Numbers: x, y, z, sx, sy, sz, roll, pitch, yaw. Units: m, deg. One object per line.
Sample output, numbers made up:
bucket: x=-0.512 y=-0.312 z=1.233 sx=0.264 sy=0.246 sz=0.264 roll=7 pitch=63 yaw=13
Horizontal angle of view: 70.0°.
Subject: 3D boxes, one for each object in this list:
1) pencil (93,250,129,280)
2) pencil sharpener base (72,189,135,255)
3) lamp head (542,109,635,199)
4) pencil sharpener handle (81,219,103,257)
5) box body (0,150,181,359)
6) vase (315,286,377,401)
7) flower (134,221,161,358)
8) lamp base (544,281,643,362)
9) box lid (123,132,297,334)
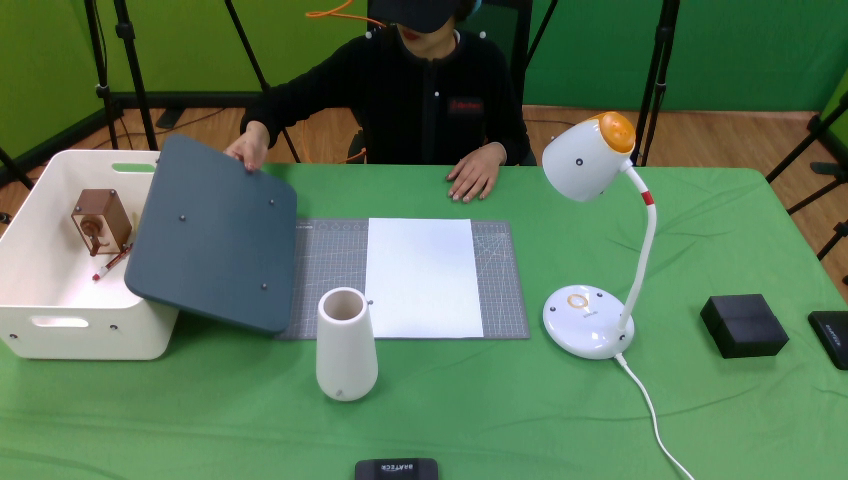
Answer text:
pencil: x=-0.549 y=0.015 z=1.152 sx=0.012 sy=0.012 sz=0.193 roll=22 pitch=44 yaw=17
pencil sharpener base: x=-0.589 y=-0.031 z=1.117 sx=0.061 sy=0.107 sz=0.076 roll=-2 pitch=46 yaw=-3
lamp head: x=0.253 y=-0.131 z=0.893 sx=0.113 sy=0.123 sz=0.112 roll=10 pitch=66 yaw=-24
pencil sharpener handle: x=-0.588 y=-0.003 z=1.073 sx=0.036 sy=0.068 sz=0.030 roll=3 pitch=45 yaw=-9
box body: x=-0.541 y=0.021 z=1.042 sx=0.254 sy=0.161 sz=0.361 roll=1 pitch=46 yaw=-3
vase: x=-0.119 y=0.159 z=0.911 sx=0.098 sy=0.201 sz=0.097 roll=2 pitch=47 yaw=-2
flower: x=-0.508 y=0.072 z=1.093 sx=0.044 sy=0.038 sz=0.359 roll=-41 pitch=45 yaw=8
lamp base: x=0.304 y=0.095 z=1.014 sx=0.161 sy=0.181 sz=0.178 roll=-24 pitch=54 yaw=-24
box lid: x=-0.346 y=-0.023 z=1.048 sx=0.264 sy=0.015 sz=0.369 roll=24 pitch=40 yaw=-30
